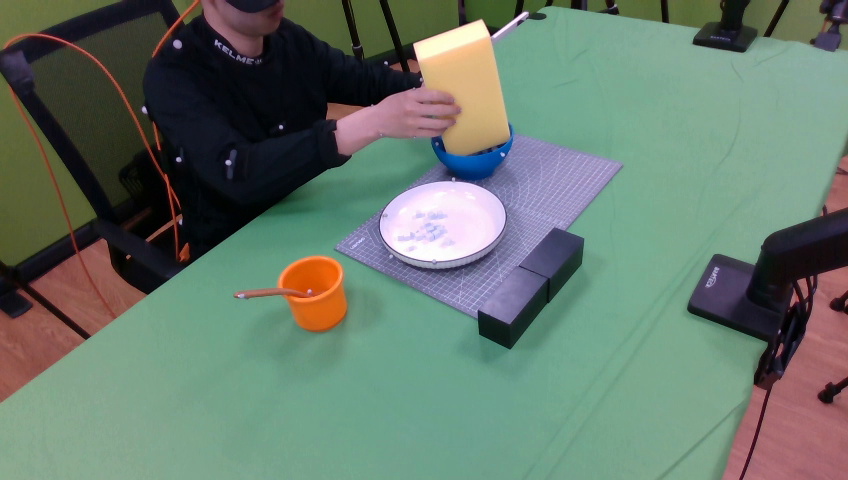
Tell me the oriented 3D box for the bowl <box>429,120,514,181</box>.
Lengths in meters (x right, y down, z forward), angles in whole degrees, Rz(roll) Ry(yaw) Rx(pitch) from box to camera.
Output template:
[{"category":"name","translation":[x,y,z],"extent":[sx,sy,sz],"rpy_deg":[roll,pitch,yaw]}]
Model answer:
[{"category":"bowl","translation":[0.089,-0.161,1.096],"extent":[0.151,0.077,0.150],"rpy_deg":[-4,41,4]}]

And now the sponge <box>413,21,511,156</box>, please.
[{"category":"sponge","translation":[0.069,-0.245,1.022],"extent":[0.118,0.208,0.060],"rpy_deg":[-17,45,5]}]

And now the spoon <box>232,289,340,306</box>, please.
[{"category":"spoon","translation":[-0.181,0.074,0.811],"extent":[0.041,0.195,0.021],"rpy_deg":[16,90,31]}]

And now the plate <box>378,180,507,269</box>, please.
[{"category":"plate","translation":[0.031,-0.022,0.974],"extent":[0.209,0.038,0.208],"rpy_deg":[-4,40,4]}]
